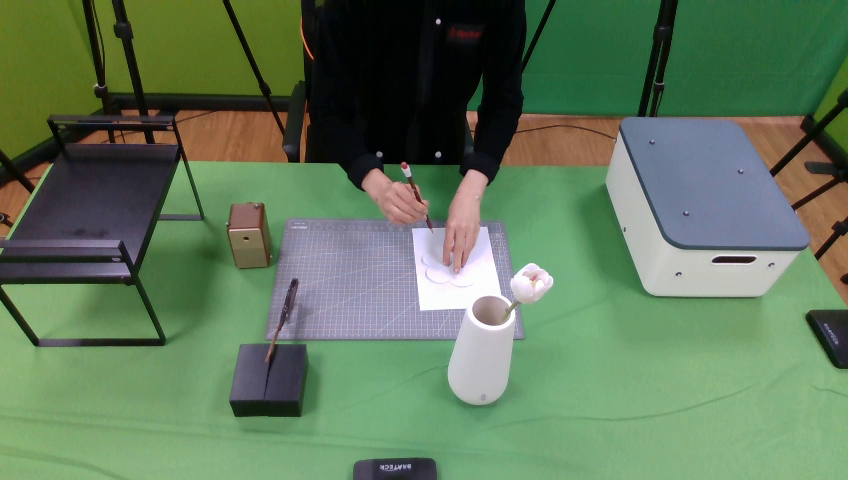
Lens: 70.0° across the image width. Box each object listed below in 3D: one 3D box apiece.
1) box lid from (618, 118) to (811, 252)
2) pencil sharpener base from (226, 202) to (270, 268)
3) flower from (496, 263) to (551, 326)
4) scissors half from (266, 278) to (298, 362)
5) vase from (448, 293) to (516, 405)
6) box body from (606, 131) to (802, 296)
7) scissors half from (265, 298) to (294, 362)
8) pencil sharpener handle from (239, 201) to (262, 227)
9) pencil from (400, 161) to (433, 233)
[{"bbox_3d":[0.534,-0.117,1.148,0.263,0.015,0.369,0,47,-3],"label":"box lid"},{"bbox_3d":[-0.323,-0.010,1.123,0.061,0.107,0.076,-3,46,-7],"label":"pencil sharpener base"},{"bbox_3d":[0.102,0.120,0.853,0.044,0.363,0.038,-1,64,-10],"label":"flower"},{"bbox_3d":[-0.234,0.127,0.993,0.013,0.040,0.174,12,46,-4],"label":"scissors half"},{"bbox_3d":[0.091,0.169,0.921,0.098,0.201,0.097,3,47,-3],"label":"vase"},{"bbox_3d":[0.530,-0.067,1.204,0.254,0.161,0.361,0,46,-4],"label":"box body"},{"bbox_3d":[-0.239,0.143,1.005,0.013,0.040,0.174,17,28,-6],"label":"scissors half"},{"bbox_3d":[-0.325,-0.056,1.150,0.036,0.068,0.030,-13,46,3],"label":"pencil sharpener handle"},{"bbox_3d":[-0.009,-0.069,1.054,0.012,0.195,0.012,-9,52,12],"label":"pencil"}]
